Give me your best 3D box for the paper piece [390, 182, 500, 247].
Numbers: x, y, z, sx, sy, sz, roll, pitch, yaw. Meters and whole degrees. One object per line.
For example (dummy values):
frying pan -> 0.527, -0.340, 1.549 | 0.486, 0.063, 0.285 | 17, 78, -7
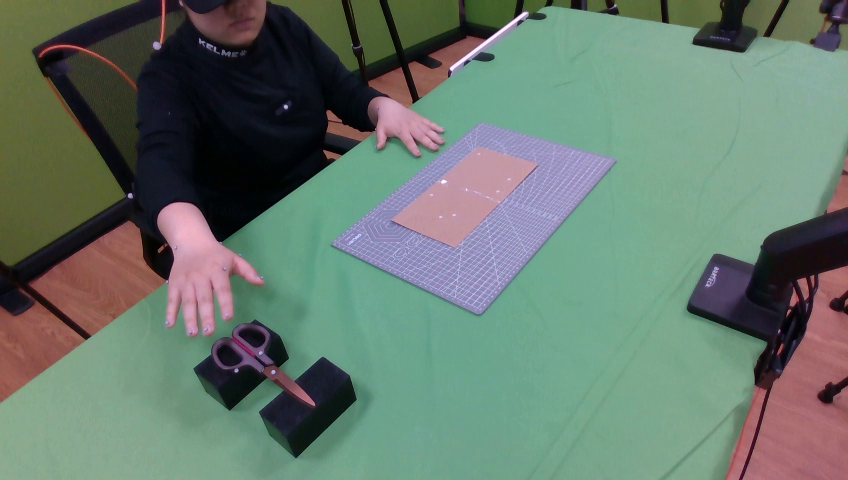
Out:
paper piece -> 0.037, -0.048, 1.027 | 0.134, 0.004, 0.136 | 24, 48, 30

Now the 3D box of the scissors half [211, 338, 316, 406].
scissors half -> -0.198, 0.163, 0.736 | 0.174, 0.013, 0.040 | 19, 42, 26

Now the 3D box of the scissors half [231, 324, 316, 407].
scissors half -> -0.185, 0.153, 0.748 | 0.040, 0.013, 0.173 | -33, 48, -27

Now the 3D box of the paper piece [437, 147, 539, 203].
paper piece -> 0.117, -0.122, 1.104 | 0.135, 0.009, 0.138 | 26, 49, 28
